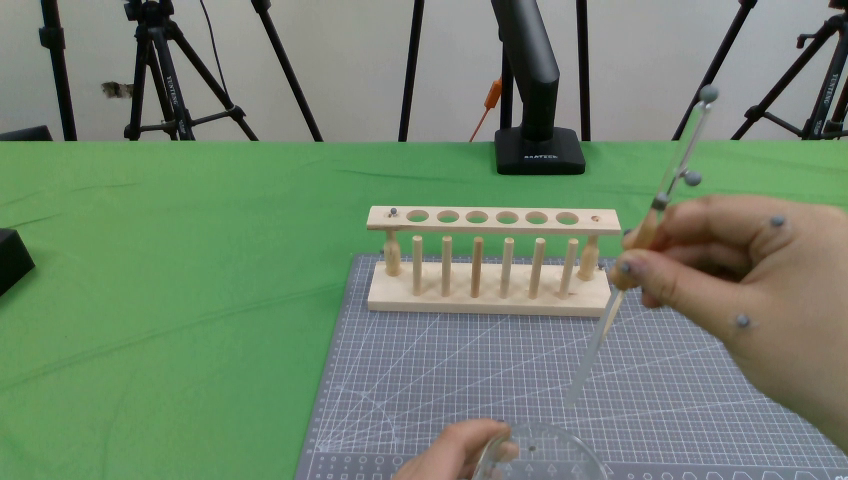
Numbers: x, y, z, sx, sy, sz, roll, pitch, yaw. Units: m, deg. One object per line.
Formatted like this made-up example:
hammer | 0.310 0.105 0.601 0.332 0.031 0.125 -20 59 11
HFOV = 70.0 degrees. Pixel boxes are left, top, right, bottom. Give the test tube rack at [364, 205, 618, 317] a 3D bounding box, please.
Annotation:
test tube rack | 0.064 0.020 0.602 0.242 0.086 0.066 1 36 4

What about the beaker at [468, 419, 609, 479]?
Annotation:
beaker | 0.061 0.171 0.367 0.084 0.101 0.073 -7 37 -13

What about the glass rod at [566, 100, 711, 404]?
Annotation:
glass rod | 0.096 0.023 0.291 0.008 0.201 0.008 4 42 -3
